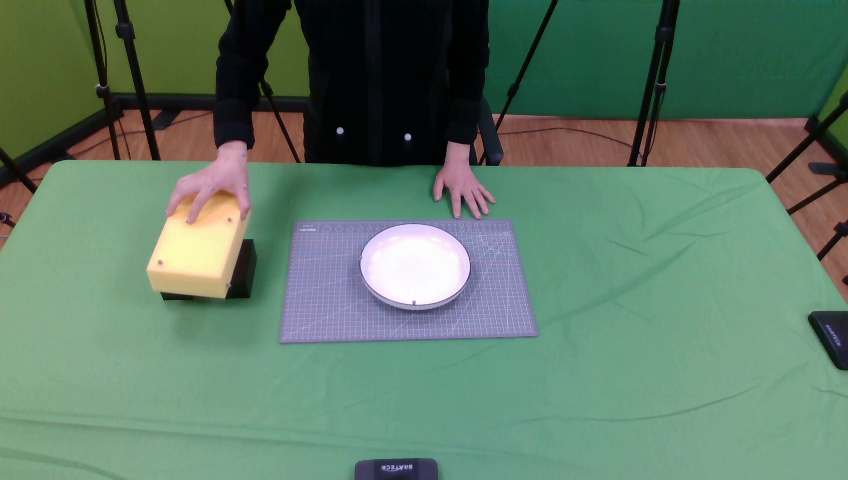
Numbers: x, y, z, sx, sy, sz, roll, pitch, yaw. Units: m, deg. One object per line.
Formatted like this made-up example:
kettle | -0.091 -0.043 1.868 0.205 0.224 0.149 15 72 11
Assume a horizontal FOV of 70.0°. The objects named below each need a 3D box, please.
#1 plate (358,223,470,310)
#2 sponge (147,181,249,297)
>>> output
plate | -0.019 0.052 1.132 0.209 0.038 0.208 2 46 -2
sponge | -0.388 -0.005 1.059 0.118 0.061 0.205 6 49 -5
